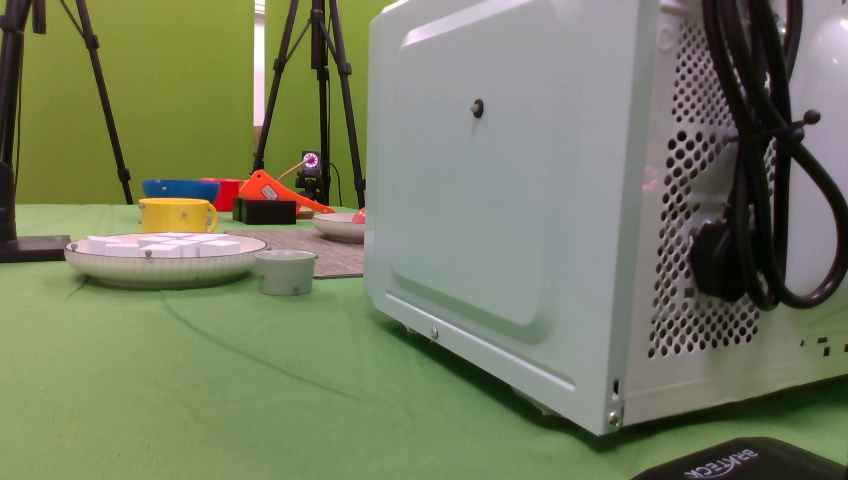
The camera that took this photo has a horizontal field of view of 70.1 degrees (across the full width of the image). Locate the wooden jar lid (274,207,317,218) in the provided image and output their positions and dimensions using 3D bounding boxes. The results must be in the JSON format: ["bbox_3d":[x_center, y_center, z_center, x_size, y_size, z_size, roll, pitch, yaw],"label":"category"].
[{"bbox_3d":[-0.303,-0.065,1.409,0.108,0.020,0.108,3,9,0],"label":"wooden jar lid"}]

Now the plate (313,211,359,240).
[{"bbox_3d":[-0.090,-0.026,1.063,0.209,0.038,0.209,2,7,0],"label":"plate"}]

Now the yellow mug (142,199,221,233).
[{"bbox_3d":[-0.372,-0.030,0.948,0.099,0.064,0.131,6,7,30],"label":"yellow mug"}]

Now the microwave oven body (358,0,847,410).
[{"bbox_3d":[0.210,-0.051,0.471,0.444,0.260,0.324,-1,7,-28],"label":"microwave oven body"}]

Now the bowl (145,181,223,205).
[{"bbox_3d":[-0.499,-0.081,1.261,0.151,0.077,0.151,2,8,0],"label":"bowl"}]

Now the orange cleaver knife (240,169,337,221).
[{"bbox_3d":[-0.287,-0.081,1.298,0.212,0.077,0.012,25,-3,-31],"label":"orange cleaver knife"}]

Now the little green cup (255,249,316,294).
[{"bbox_3d":[-0.144,0.032,0.627,0.061,0.038,0.061,3,7,0],"label":"little green cup"}]

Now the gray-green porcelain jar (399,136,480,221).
[{"bbox_3d":[0.032,-0.106,1.087,0.106,0.126,0.106,-32,3,2],"label":"gray-green porcelain jar"}]

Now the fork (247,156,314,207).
[{"bbox_3d":[-0.360,-0.147,1.523,0.207,0.018,0.028,-43,16,-7],"label":"fork"}]

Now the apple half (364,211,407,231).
[{"bbox_3d":[-0.068,-0.037,1.104,0.081,0.033,0.081,-1,9,0],"label":"apple half"}]

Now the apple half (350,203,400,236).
[{"bbox_3d":[-0.081,-0.036,1.024,0.081,0.053,0.074,-2,11,-33],"label":"apple half"}]

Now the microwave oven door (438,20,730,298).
[{"bbox_3d":[0.181,-0.076,0.618,0.358,0.243,0.039,-2,8,-28],"label":"microwave oven door"}]

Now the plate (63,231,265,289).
[{"bbox_3d":[-0.288,0.021,0.687,0.208,0.039,0.207,2,8,0],"label":"plate"}]

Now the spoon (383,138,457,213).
[{"bbox_3d":[-0.010,-0.122,1.113,0.042,0.193,0.021,-38,-11,-15],"label":"spoon"}]

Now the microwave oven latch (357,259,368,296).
[{"bbox_3d":[-0.019,0.031,0.528,0.079,0.029,0.030,-1,7,-25],"label":"microwave oven latch"}]
